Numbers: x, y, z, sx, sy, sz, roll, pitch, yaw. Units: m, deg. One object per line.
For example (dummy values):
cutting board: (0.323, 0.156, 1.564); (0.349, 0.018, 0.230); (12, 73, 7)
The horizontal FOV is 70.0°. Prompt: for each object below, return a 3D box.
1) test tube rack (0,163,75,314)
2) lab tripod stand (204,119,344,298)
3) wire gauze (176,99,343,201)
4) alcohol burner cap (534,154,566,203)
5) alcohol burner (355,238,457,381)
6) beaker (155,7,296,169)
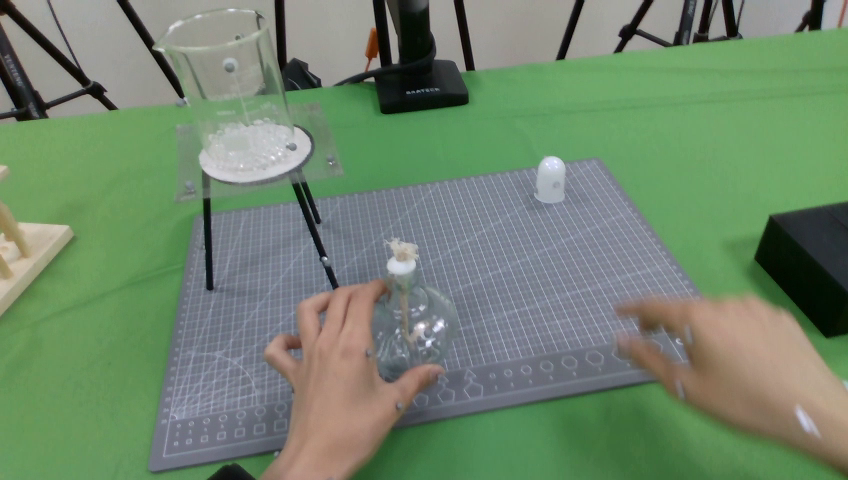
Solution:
test tube rack: (-0.416, 0.036, 0.518); (0.066, 0.086, 0.240); (4, 41, 9)
lab tripod stand: (-0.131, -0.024, 0.527); (0.148, 0.133, 0.147); (-2, 43, 2)
wire gauze: (-0.135, -0.074, 0.484); (0.125, 0.011, 0.120); (-14, 40, -8)
alcohol burner cap: (0.131, -0.066, 0.627); (0.034, 0.048, 0.033); (-2, 40, 2)
alcohol burner: (-0.015, 0.048, 0.450); (0.078, 0.120, 0.077); (-3, 39, 2)
beaker: (-0.142, -0.110, 0.451); (0.084, 0.101, 0.073); (-13, 41, -9)
